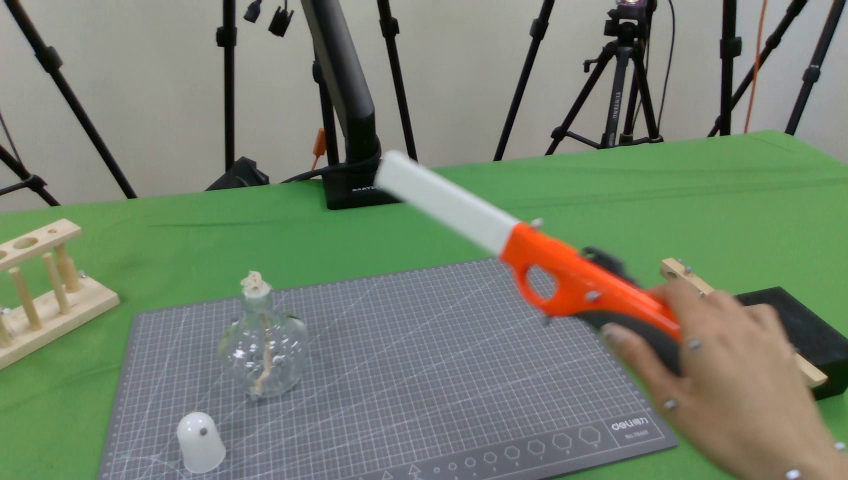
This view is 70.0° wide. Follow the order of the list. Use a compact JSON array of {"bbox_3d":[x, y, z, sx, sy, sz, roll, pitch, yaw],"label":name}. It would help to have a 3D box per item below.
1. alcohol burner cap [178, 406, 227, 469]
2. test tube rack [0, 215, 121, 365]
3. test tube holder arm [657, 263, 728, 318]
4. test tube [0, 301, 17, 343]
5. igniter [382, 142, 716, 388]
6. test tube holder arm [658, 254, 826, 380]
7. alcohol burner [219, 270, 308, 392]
[{"bbox_3d":[-0.174,0.150,0.471,0.034,0.048,0.033,1,33,0],"label":"alcohol burner cap"},{"bbox_3d":[-0.422,0.071,0.561,0.066,0.086,0.242,21,38,29],"label":"test tube rack"},{"bbox_3d":[0.256,0.045,0.575,0.015,0.010,0.087,-18,34,-15],"label":"test tube holder arm"},{"bbox_3d":[-0.398,0.032,0.538,0.017,0.151,0.017,0,34,0],"label":"test tube"},{"bbox_3d":[0.071,0.004,0.414,0.274,0.057,0.025,36,19,31],"label":"igniter"},{"bbox_3d":[0.272,0.061,0.536,0.015,0.013,0.176,-18,34,-15],"label":"test tube holder arm"},{"bbox_3d":[-0.140,0.073,0.524,0.078,0.120,0.077,1,34,0],"label":"alcohol burner"}]
